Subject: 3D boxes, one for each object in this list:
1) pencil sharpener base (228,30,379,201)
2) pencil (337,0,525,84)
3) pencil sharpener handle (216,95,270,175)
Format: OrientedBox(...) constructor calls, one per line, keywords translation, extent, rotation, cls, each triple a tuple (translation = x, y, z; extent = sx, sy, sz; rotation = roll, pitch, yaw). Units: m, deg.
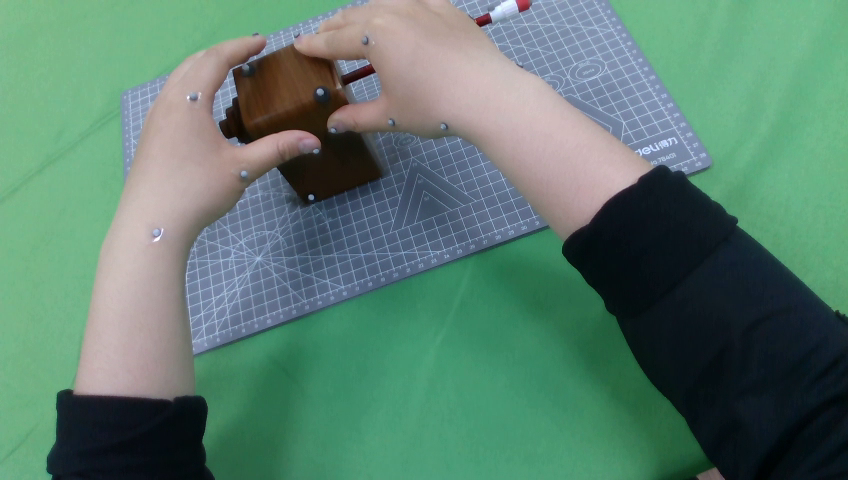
OrientedBox(translation=(-0.088, -0.087, 0.453), extent=(0.077, 0.108, 0.061), rotation=(-23, 60, 2), cls="pencil sharpener base")
OrientedBox(translation=(-0.020, -0.130, 0.425), extent=(0.194, 0.012, 0.012), rotation=(-23, 61, 3), cls="pencil")
OrientedBox(translation=(-0.138, -0.073, 0.443), extent=(0.030, 0.068, 0.035), rotation=(-23, 60, 2), cls="pencil sharpener handle")
